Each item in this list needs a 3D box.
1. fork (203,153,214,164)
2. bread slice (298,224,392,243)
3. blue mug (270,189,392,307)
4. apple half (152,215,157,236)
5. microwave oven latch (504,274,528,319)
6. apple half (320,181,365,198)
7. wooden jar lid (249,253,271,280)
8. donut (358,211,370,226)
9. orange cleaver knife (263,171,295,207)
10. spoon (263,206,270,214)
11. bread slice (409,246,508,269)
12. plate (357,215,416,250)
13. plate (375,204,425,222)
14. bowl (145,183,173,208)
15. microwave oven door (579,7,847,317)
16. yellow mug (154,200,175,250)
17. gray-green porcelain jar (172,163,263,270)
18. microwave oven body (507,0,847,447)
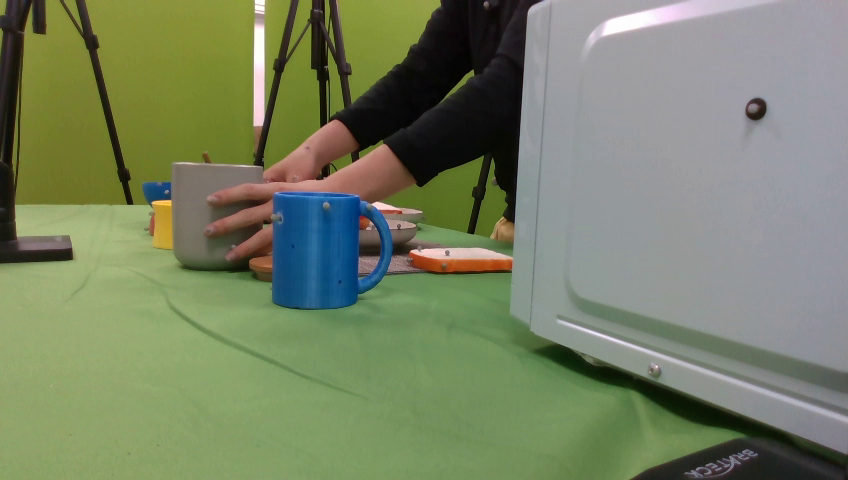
[{"bbox_3d":[-0.480,-0.135,1.411,0.028,0.018,0.207,1,-34,0],"label":"fork"},{"bbox_3d":[-0.120,-0.012,0.970,0.106,0.018,0.135,8,10,41],"label":"bread slice"},{"bbox_3d":[-0.090,0.005,0.588,0.117,0.106,0.082,1,7,-10],"label":"blue mug"},{"bbox_3d":[-0.415,-0.034,1.017,0.081,0.053,0.074,1,10,-9],"label":"apple half"},{"bbox_3d":[0.100,0.041,0.470,0.079,0.029,0.030,-1,7,-27],"label":"microwave oven latch"},{"bbox_3d":[-0.130,-0.077,0.952,0.081,0.033,0.081,4,15,-1],"label":"apple half"},{"bbox_3d":[-0.148,0.028,0.708,0.108,0.020,0.108,-1,9,0],"label":"wooden jar lid"},{"bbox_3d":[-0.132,-0.042,0.959,0.099,0.048,0.099,1,7,0],"label":"donut"},{"bbox_3d":[-0.283,-0.087,1.343,0.212,0.077,0.012,24,-16,-41],"label":"orange cleaver knife"},{"bbox_3d":[-0.203,-0.036,0.966,0.041,0.021,0.195,40,12,35],"label":"spoon"},{"bbox_3d":[0.048,0.021,0.816,0.132,0.019,0.104,-1,7,-24],"label":"bread slice"},{"bbox_3d":[-0.116,-0.014,0.967,0.208,0.039,0.207,2,8,0],"label":"plate"},{"bbox_3d":[-0.102,-0.053,1.299,0.209,0.038,0.209,2,8,0],"label":"plate"},{"bbox_3d":[-0.459,-0.069,1.175,0.151,0.077,0.151,3,7,0],"label":"bowl"},{"bbox_3d":[0.294,-0.067,0.570,0.358,0.243,0.039,-3,9,-31],"label":"microwave oven door"},{"bbox_3d":[-0.337,-0.022,0.899,0.130,0.064,0.100,8,9,34],"label":"yellow mug"},{"bbox_3d":[-0.255,-0.031,0.751,0.106,0.126,0.106,2,7,0],"label":"gray-green porcelain jar"},{"bbox_3d":[0.331,-0.042,0.425,0.444,0.260,0.324,-2,8,-31],"label":"microwave oven body"}]
